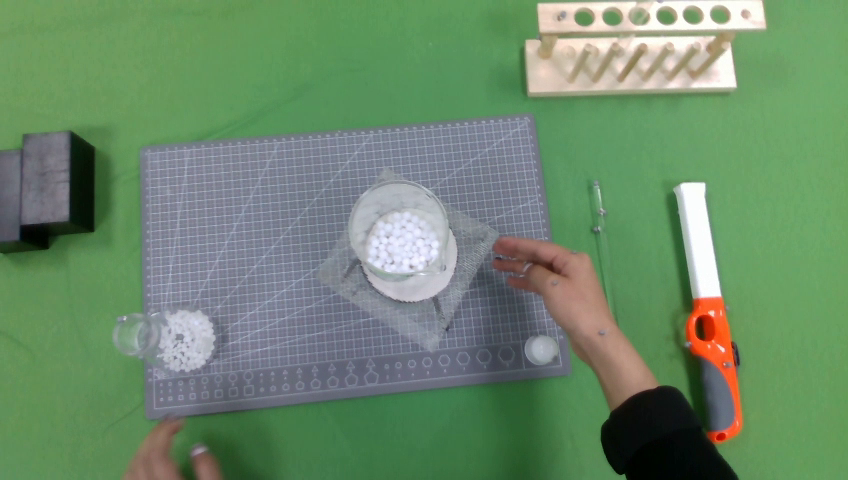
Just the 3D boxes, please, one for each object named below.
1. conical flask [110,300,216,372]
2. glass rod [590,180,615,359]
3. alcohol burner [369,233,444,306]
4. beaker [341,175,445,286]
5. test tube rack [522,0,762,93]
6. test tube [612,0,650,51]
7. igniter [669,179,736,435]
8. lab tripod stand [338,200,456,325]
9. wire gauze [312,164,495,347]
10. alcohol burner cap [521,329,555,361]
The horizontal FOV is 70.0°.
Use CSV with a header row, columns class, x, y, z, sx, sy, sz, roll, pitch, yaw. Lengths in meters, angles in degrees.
class,x,y,z,sx,sy,sz,roll,pitch,yaw
conical flask,-0.256,0.090,0.588,0.075,0.122,0.075,0,79,-1
glass rod,0.198,0.031,0.671,0.008,0.008,0.199,-4,82,-2
alcohol burner,-0.019,0.027,0.610,0.078,0.119,0.077,0,80,1
beaker,-0.020,-0.001,0.490,0.074,0.100,0.084,-44,83,-8
test tube rack,0.238,-0.217,0.680,0.242,0.085,0.066,-2,79,-1
test tube,0.222,-0.240,0.633,0.017,0.151,0.017,0,79,2
igniter,0.301,0.068,0.658,0.057,0.025,0.275,-1,79,-13
lab tripod stand,-0.021,0.022,0.601,0.148,0.132,0.148,0,81,0
wire gauze,-0.017,0.011,0.536,0.125,0.011,0.121,31,83,3
alcohol burner cap,0.121,0.109,0.635,0.034,0.048,0.033,1,78,-2
